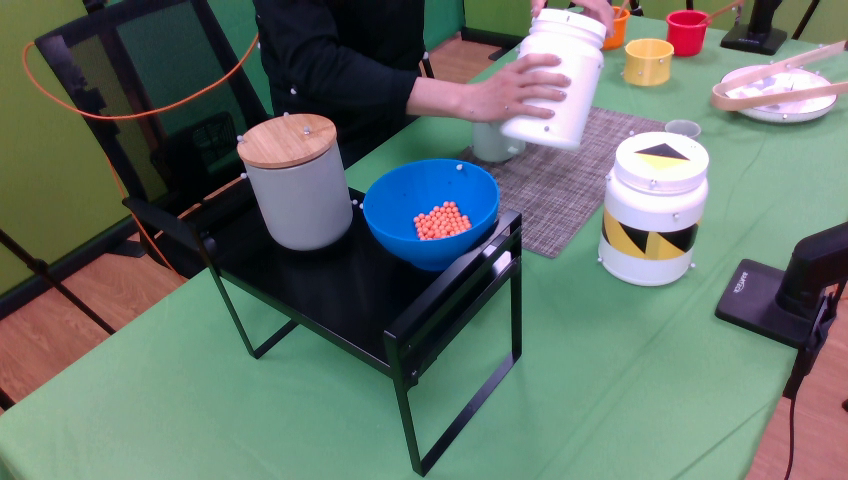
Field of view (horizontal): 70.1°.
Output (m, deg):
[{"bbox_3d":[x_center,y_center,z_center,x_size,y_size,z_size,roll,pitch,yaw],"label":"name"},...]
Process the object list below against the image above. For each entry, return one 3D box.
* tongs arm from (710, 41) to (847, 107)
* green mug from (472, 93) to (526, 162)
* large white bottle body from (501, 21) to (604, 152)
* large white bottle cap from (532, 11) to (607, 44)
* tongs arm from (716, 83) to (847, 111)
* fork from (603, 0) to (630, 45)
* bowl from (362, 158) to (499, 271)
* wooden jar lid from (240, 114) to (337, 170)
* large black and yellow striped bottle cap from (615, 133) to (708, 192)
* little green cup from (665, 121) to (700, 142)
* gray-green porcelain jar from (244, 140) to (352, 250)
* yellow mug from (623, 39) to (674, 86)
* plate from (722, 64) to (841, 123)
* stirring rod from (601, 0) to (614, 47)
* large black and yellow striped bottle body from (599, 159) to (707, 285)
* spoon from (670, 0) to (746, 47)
[{"bbox_3d":[0.712,-0.332,1.194,0.386,0.026,0.050,-19,45,-16],"label":"tongs arm"},{"bbox_3d":[0.144,-0.202,1.122,0.093,0.105,0.124,-29,45,-23],"label":"green mug"},{"bbox_3d":[0.204,-0.242,0.951,0.131,0.184,0.130,13,12,-2],"label":"large white bottle body"},{"bbox_3d":[0.224,-0.327,0.933,0.115,0.018,0.114,15,12,-3],"label":"large white bottle cap"},{"bbox_3d":[0.739,-0.281,1.134,0.388,0.028,0.028,-9,47,-5],"label":"tongs arm"},{"bbox_3d":[0.481,-0.556,1.452,0.028,0.019,0.207,40,103,38],"label":"fork"},{"bbox_3d":[0.011,-0.019,0.679,0.151,0.077,0.150,-5,41,5],"label":"bowl"},{"bbox_3d":[-0.149,-0.106,0.673,0.108,0.021,0.108,-6,38,5],"label":"wooden jar lid"},{"bbox_3d":[0.312,-0.105,0.799,0.115,0.019,0.114,-5,41,5],"label":"large black and yellow striped bottle cap"},{"bbox_3d":[0.473,-0.188,1.113,0.061,0.039,0.061,-5,40,5],"label":"little green cup"},{"bbox_3d":[-0.144,-0.060,0.714,0.106,0.127,0.105,-4,41,4],"label":"gray-green porcelain jar"},{"bbox_3d":[0.485,-0.398,1.334,0.100,0.064,0.130,-18,40,-11],"label":"yellow mug"},{"bbox_3d":[0.695,-0.282,1.189,0.207,0.039,0.206,-4,40,4],"label":"plate"},{"bbox_3d":[0.439,-0.552,1.463,0.014,0.006,0.175,-7,83,2],"label":"stirring rod"},{"bbox_3d":[0.320,-0.042,0.854,0.131,0.185,0.130,-4,40,4],"label":"large black and yellow striped bottle body"},{"bbox_3d":[0.629,-0.485,1.350,0.022,0.193,0.042,48,54,-7],"label":"spoon"}]
